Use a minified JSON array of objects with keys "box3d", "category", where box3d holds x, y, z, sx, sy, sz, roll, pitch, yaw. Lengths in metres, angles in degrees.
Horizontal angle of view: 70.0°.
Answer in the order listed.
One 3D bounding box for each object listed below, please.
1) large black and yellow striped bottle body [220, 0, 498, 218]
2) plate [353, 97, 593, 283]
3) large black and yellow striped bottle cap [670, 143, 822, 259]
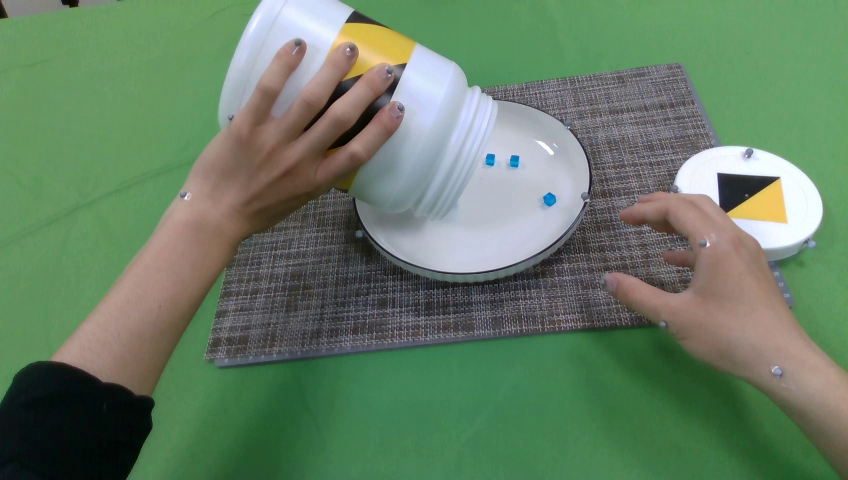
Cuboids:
[{"box3d":[-0.047,-0.104,0.475,0.184,0.131,0.130,25,56,-10],"category":"large black and yellow striped bottle body"},{"box3d":[0.042,-0.045,0.536,0.207,0.039,0.205,-5,52,6],"category":"plate"},{"box3d":[0.265,-0.035,0.502,0.115,0.019,0.114,-2,54,3],"category":"large black and yellow striped bottle cap"}]
